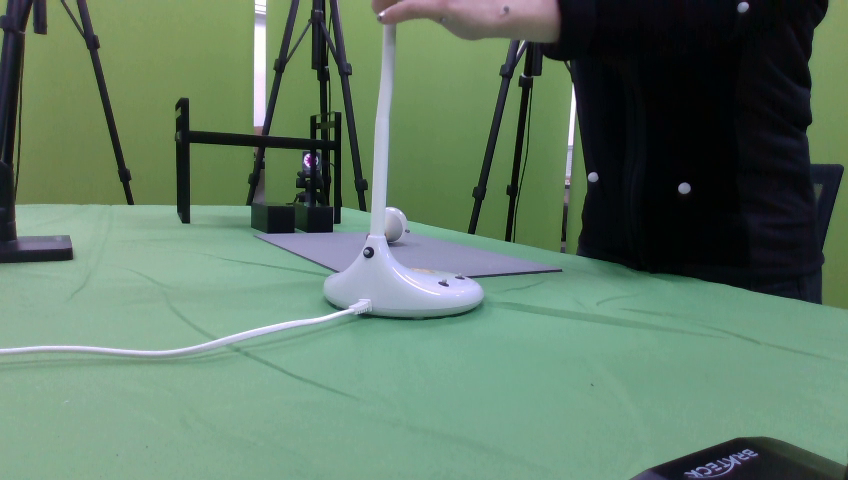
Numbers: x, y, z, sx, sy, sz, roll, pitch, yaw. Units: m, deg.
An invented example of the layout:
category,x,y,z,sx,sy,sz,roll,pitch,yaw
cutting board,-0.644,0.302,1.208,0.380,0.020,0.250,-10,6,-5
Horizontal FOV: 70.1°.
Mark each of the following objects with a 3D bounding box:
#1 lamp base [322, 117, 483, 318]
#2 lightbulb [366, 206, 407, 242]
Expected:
category,x,y,z,sx,sy,sz,roll,pitch,yaw
lamp base,-0.022,-0.025,0.581,0.160,0.180,0.179,4,10,16
lightbulb,-0.067,-0.019,1.000,0.059,0.059,0.108,5,24,20
